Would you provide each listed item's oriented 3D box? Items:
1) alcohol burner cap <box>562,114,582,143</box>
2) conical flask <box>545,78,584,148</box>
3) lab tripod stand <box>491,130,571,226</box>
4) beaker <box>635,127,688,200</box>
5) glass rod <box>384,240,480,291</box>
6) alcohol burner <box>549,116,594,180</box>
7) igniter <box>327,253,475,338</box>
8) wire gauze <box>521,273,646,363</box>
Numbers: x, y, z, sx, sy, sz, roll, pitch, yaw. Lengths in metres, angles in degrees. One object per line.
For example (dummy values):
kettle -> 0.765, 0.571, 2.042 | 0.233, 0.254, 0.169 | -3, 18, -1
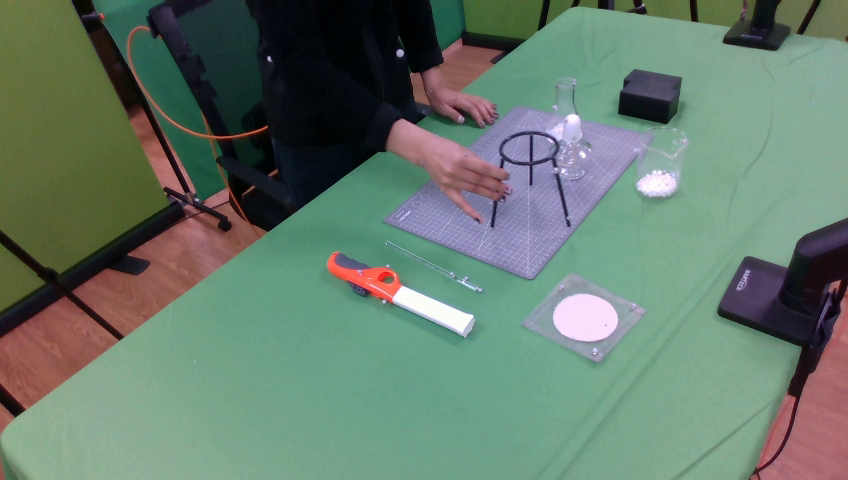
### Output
alcohol burner cap -> 0.254, -0.192, 1.030 | 0.034, 0.048, 0.033 | -4, 50, 6
conical flask -> 0.264, -0.241, 1.135 | 0.075, 0.122, 0.075 | -6, 40, 5
lab tripod stand -> 0.165, -0.097, 0.948 | 0.148, 0.132, 0.147 | -7, 41, 6
beaker -> 0.388, -0.122, 0.994 | 0.074, 0.101, 0.083 | -8, 40, 2
glass rod -> 0.009, 0.037, 0.949 | 0.198, 0.008, 0.008 | 26, 52, 34
alcohol burner -> 0.258, -0.166, 1.055 | 0.078, 0.120, 0.077 | -6, 42, 6
igniter -> -0.045, 0.077, 0.898 | 0.274, 0.025, 0.057 | 22, 60, 32
wire gauze -> 0.219, 0.105, 0.830 | 0.120, 0.011, 0.125 | 28, 54, 37
